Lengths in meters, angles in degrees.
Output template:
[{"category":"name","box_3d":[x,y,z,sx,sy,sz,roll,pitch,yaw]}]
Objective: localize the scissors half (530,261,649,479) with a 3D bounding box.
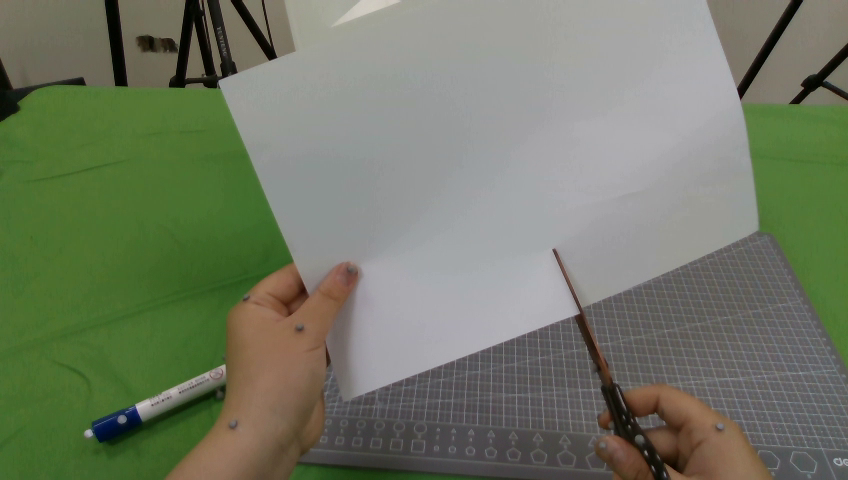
[{"category":"scissors half","box_3d":[0.108,0.089,0.369,0.013,0.040,0.174,-29,82,-1]}]

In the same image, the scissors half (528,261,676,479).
[{"category":"scissors half","box_3d":[0.105,0.084,0.350,0.013,0.040,0.173,-30,65,4]}]

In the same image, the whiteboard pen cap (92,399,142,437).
[{"category":"whiteboard pen cap","box_3d":[-0.228,0.131,0.452,0.033,0.018,0.018,-24,45,-27]}]

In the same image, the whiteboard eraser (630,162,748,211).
[{"category":"whiteboard eraser","box_3d":[0.289,-0.059,0.667,0.113,0.042,0.055,1,41,1]}]

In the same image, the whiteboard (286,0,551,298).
[{"category":"whiteboard","box_3d":[-0.015,-0.133,0.603,0.218,0.307,0.142,-16,21,-16]}]

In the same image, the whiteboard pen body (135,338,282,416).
[{"category":"whiteboard pen body","box_3d":[-0.180,0.112,0.478,0.141,0.017,0.017,-23,44,-27]}]
